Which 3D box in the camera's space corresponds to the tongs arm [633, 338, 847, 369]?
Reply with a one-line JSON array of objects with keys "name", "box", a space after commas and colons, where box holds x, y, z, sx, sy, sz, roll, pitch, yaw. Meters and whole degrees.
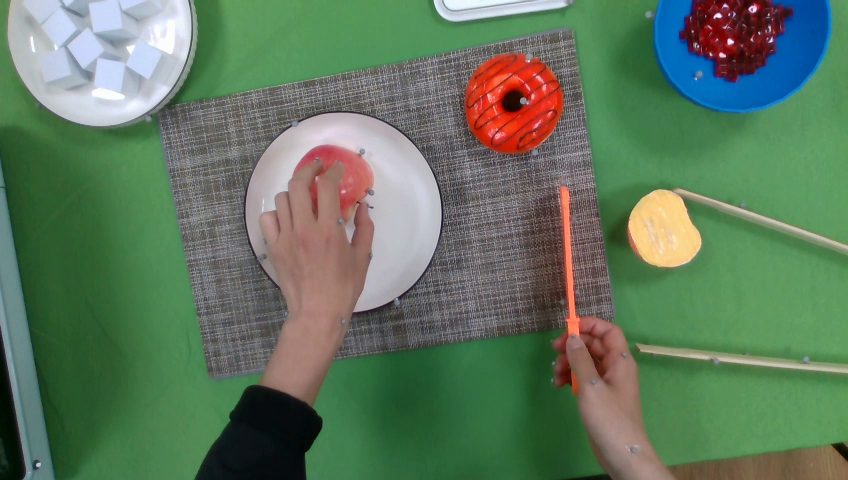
[{"name": "tongs arm", "box": [0.407, 0.104, 0.600, 0.384, 0.026, 0.051, 7, 91, 4]}]

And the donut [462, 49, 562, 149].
[{"name": "donut", "box": [0.086, -0.139, 0.602, 0.099, 0.048, 0.099, 1, 96, 8]}]

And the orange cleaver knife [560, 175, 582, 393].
[{"name": "orange cleaver knife", "box": [0.143, 0.041, 0.596, 0.012, 0.077, 0.211, -4, 95, 12]}]

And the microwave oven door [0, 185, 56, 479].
[{"name": "microwave oven door", "box": [-0.470, 0.124, 0.566, 0.039, 0.244, 0.356, -7, 94, 6]}]

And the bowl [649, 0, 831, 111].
[{"name": "bowl", "box": [0.280, -0.192, 0.566, 0.151, 0.077, 0.151, 0, 95, 6]}]

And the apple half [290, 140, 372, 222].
[{"name": "apple half", "box": [-0.098, -0.062, 0.615, 0.074, 0.053, 0.081, 44, 97, 3]}]

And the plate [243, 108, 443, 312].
[{"name": "plate", "box": [-0.082, -0.030, 0.632, 0.209, 0.038, 0.209, 0, 95, 6]}]

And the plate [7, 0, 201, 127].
[{"name": "plate", "box": [-0.334, -0.223, 0.644, 0.207, 0.039, 0.208, 0, 95, 6]}]

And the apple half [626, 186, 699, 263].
[{"name": "apple half", "box": [0.230, -0.011, 0.605, 0.081, 0.033, 0.081, 4, 76, -15]}]

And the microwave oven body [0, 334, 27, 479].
[{"name": "microwave oven body", "box": [-0.618, 0.098, 0.584, 0.326, 0.260, 0.442, -7, 95, 6]}]

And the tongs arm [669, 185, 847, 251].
[{"name": "tongs arm", "box": [0.425, 0.020, 0.594, 0.387, 0.028, 0.028, 21, 89, 3]}]

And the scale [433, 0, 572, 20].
[{"name": "scale", "box": [0.074, -0.329, 0.597, 0.148, 0.031, 0.201, -5, 95, 7]}]
